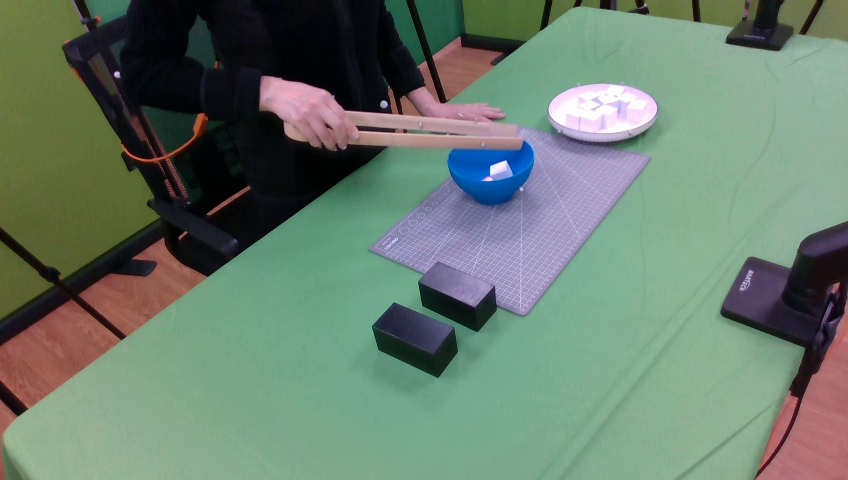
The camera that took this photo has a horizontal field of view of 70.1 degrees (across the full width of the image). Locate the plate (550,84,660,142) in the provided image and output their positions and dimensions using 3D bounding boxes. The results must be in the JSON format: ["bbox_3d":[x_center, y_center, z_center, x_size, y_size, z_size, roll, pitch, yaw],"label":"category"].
[{"bbox_3d":[0.355,-0.247,1.195,0.207,0.039,0.206,-5,39,5],"label":"plate"}]

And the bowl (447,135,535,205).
[{"bbox_3d":[0.119,-0.114,1.051,0.151,0.077,0.150,-6,40,5],"label":"bowl"}]

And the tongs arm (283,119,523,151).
[{"bbox_3d":[-0.030,-0.165,0.977,0.389,0.028,0.028,2,49,-8],"label":"tongs arm"}]

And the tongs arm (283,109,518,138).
[{"bbox_3d":[-0.032,-0.184,0.996,0.386,0.026,0.050,4,45,-6],"label":"tongs arm"}]
